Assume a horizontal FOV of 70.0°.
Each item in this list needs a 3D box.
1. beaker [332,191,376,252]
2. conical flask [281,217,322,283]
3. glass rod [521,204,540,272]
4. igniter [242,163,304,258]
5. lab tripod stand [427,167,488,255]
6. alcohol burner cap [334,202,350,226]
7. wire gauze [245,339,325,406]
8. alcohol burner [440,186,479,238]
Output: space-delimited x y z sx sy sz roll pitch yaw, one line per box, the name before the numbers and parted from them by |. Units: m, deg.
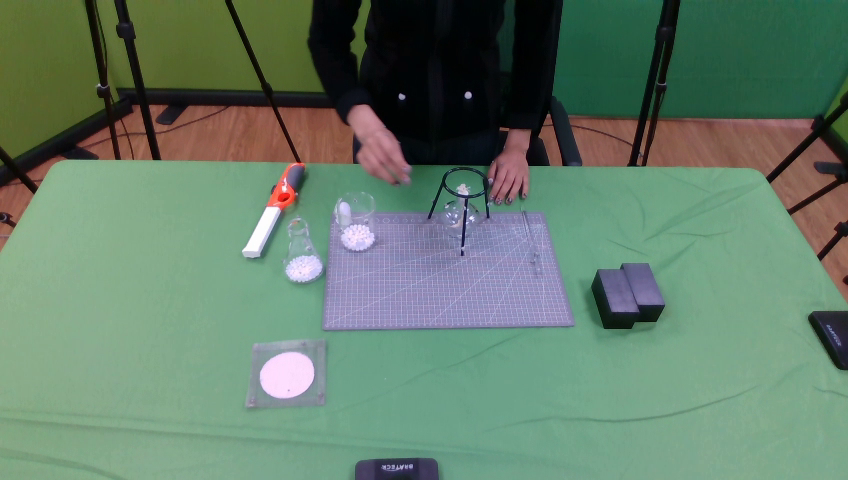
beaker | -0.133 -0.032 1.163 0.084 0.101 0.073 -19 50 -20
conical flask | -0.226 0.016 1.097 0.075 0.122 0.075 3 46 -2
glass rod | 0.215 -0.008 1.230 0.008 0.008 0.198 0 43 -3
igniter | -0.305 -0.069 1.239 0.057 0.025 0.275 2 45 12
lab tripod stand | 0.076 -0.068 1.191 0.148 0.132 0.147 2 44 -2
alcohol burner cap | -0.166 -0.055 1.223 0.034 0.048 0.033 2 46 -2
wire gauze | -0.224 0.214 0.984 0.125 0.011 0.120 -3 46 -4
alcohol burner | 0.072 -0.061 1.198 0.078 0.119 0.077 3 47 -3
